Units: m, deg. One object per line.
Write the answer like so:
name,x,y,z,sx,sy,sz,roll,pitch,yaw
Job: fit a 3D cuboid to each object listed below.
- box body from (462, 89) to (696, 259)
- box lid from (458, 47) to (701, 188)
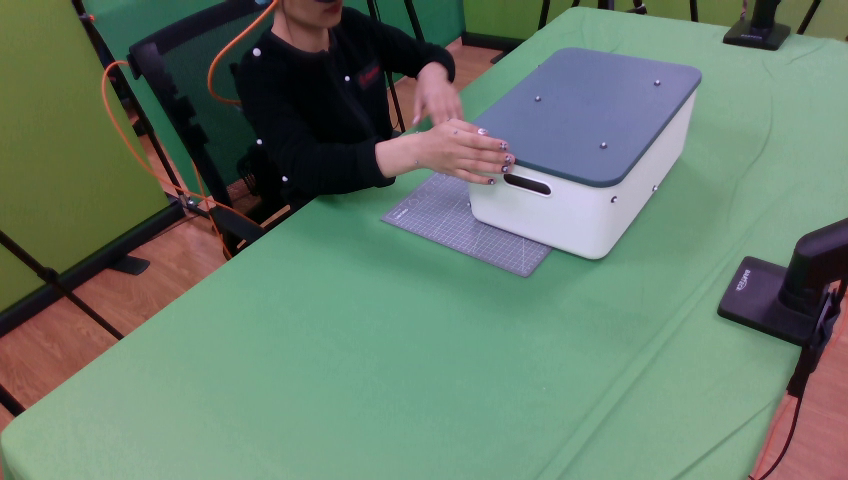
box body,0.261,-0.153,1.001,0.252,0.161,0.365,21,48,31
box lid,0.253,-0.211,0.954,0.261,0.015,0.372,22,49,30
